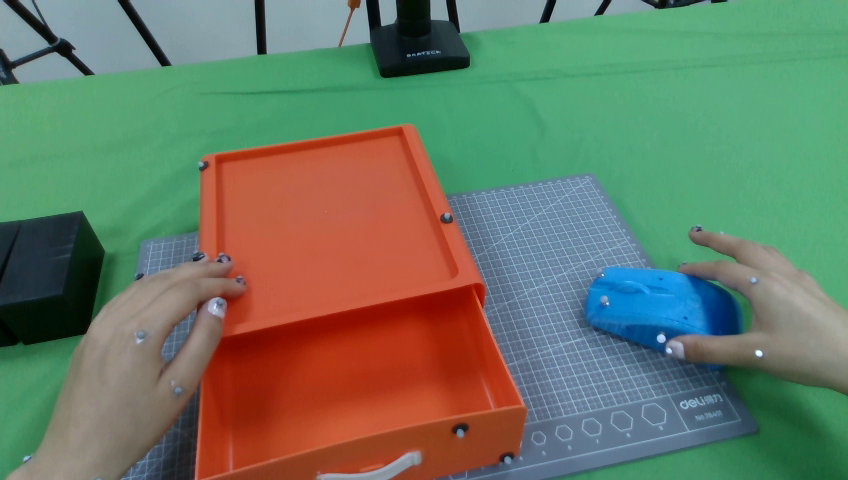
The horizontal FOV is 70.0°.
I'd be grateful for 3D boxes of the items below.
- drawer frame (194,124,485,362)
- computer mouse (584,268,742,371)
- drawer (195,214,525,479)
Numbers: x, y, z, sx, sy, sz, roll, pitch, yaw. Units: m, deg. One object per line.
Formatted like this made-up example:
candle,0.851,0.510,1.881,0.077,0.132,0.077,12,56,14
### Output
drawer frame,-0.077,0.006,0.503,0.202,0.083,0.211,-12,45,-9
computer mouse,0.188,0.056,0.478,0.116,0.041,0.062,16,49,23
drawer,-0.055,0.072,0.437,0.195,0.074,0.209,-11,45,-8
